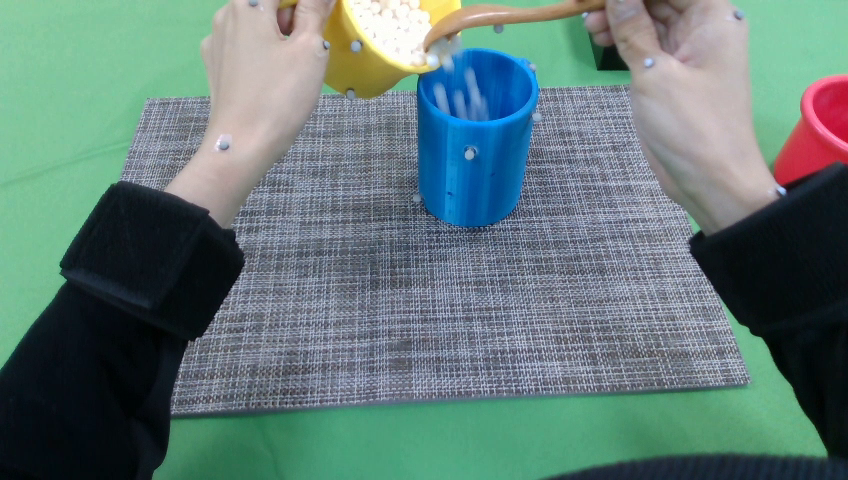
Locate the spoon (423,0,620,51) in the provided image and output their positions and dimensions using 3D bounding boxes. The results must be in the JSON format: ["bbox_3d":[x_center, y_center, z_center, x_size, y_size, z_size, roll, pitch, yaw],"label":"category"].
[{"bbox_3d":[0.069,-0.128,0.331,0.192,0.022,0.041,7,34,46],"label":"spoon"}]

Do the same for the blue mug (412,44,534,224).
[{"bbox_3d":[0.044,-0.085,0.455,0.082,0.107,0.116,35,60,23],"label":"blue mug"}]

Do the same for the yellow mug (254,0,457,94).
[{"bbox_3d":[-0.047,-0.151,0.395,0.131,0.063,0.100,-17,96,-39],"label":"yellow mug"}]
